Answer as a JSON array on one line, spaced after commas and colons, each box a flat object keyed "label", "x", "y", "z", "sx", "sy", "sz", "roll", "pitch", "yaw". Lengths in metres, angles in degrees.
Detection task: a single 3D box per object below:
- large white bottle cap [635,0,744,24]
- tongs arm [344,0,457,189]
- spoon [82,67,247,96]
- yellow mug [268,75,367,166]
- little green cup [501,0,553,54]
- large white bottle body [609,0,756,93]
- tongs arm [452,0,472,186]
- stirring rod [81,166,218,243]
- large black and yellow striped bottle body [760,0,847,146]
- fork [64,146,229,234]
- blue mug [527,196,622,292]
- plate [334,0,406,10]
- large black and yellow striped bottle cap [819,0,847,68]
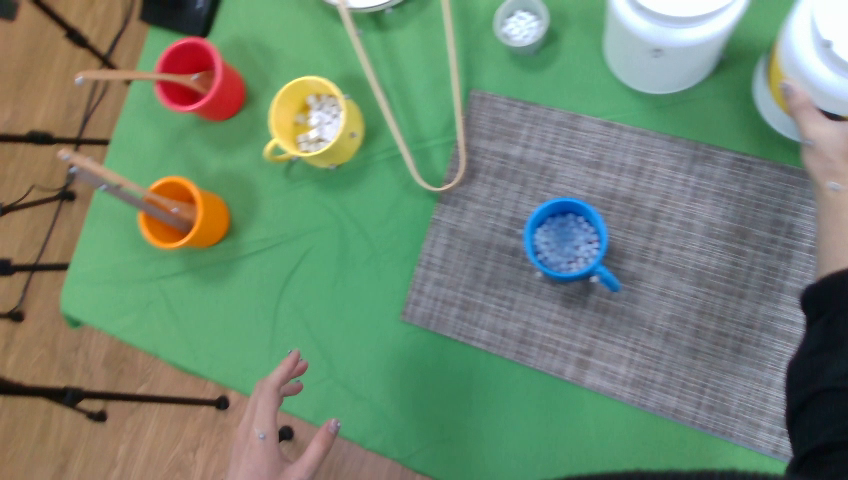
[{"label": "large white bottle cap", "x": 0.237, "y": -0.248, "z": 0.533, "sx": 0.114, "sy": 0.018, "sz": 0.114, "roll": -1, "pitch": 85, "yaw": 14}, {"label": "tongs arm", "x": -0.050, "y": -0.237, "z": 0.746, "sx": 0.051, "sy": 0.026, "sz": 0.384, "roll": -21, "pitch": 88, "yaw": 7}, {"label": "spoon", "x": -0.327, "y": -0.210, "z": 0.777, "sx": 0.195, "sy": 0.021, "sz": 0.041, "roll": -2, "pitch": 81, "yaw": -31}, {"label": "yellow mug", "x": -0.142, "y": -0.140, "z": 0.766, "sx": 0.131, "sy": 0.064, "sz": 0.099, "roll": -34, "pitch": 79, "yaw": 10}, {"label": "little green cup", "x": 0.124, "y": -0.255, "z": 0.725, "sx": 0.061, "sy": 0.039, "sz": 0.061, "roll": -1, "pitch": 86, "yaw": 14}, {"label": "large white bottle body", "x": 0.259, "y": -0.240, "z": 0.615, "sx": 0.130, "sy": 0.185, "sz": 0.130, "roll": -1, "pitch": 84, "yaw": 14}, {"label": "tongs arm", "x": 0.030, "y": -0.259, "z": 0.732, "sx": 0.028, "sy": 0.028, "sz": 0.387, "roll": -6, "pitch": 90, "yaw": 4}, {"label": "stirring rod", "x": -0.343, "y": -0.042, "z": 0.765, "sx": 0.006, "sy": 0.178, "sz": 0.014, "roll": 7, "pitch": 67, "yaw": 57}, {"label": "large black and yellow striped bottle body", "x": 0.405, "y": -0.172, "z": 0.563, "sx": 0.130, "sy": 0.185, "sz": 0.130, "roll": -2, "pitch": 83, "yaw": 16}, {"label": "fork", "x": -0.345, "y": -0.062, "z": 0.765, "sx": 0.209, "sy": 0.018, "sz": 0.028, "roll": 30, "pitch": 92, "yaw": -29}, {"label": "blue mug", "x": 0.168, "y": 0.013, "z": 0.652, "sx": 0.082, "sy": 0.106, "sz": 0.116, "roll": -46, "pitch": 76, "yaw": 6}, {"label": "plate", "x": -0.057, "y": -0.394, "z": 0.782, "sx": 0.207, "sy": 0.039, "sz": 0.207, "roll": -1, "pitch": 85, "yaw": 14}, {"label": "large black and yellow striped bottle cap", "x": 0.382, "y": -0.184, "z": 0.483, "sx": 0.115, "sy": 0.019, "sz": 0.114, "roll": -1, "pitch": 85, "yaw": 14}]
